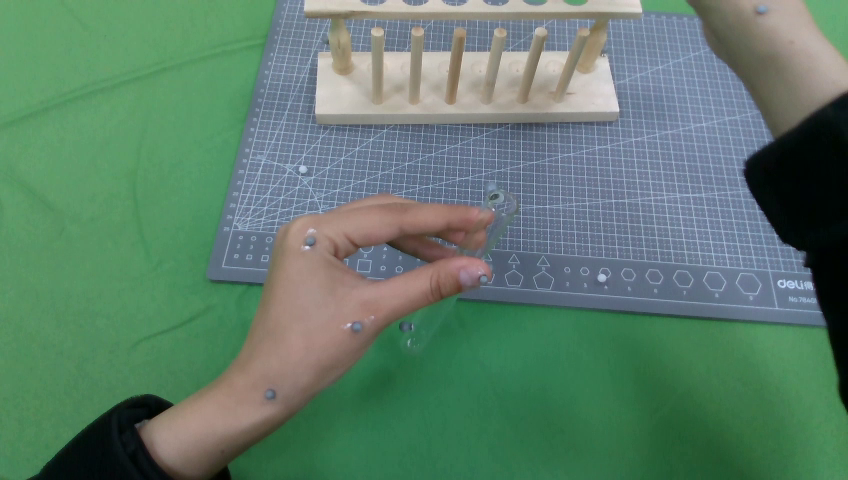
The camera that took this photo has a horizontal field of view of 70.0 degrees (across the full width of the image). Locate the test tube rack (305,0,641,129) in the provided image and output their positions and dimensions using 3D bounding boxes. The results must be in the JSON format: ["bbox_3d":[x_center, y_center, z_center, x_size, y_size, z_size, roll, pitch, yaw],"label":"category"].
[{"bbox_3d":[0.036,-0.140,0.468,0.242,0.086,0.066,-1,62,-3],"label":"test tube rack"}]

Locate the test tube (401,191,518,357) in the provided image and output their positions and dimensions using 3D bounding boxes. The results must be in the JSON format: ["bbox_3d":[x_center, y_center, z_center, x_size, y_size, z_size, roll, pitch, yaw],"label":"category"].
[{"bbox_3d":[0.014,0.026,0.325,0.017,0.151,0.017,11,52,-14],"label":"test tube"}]
